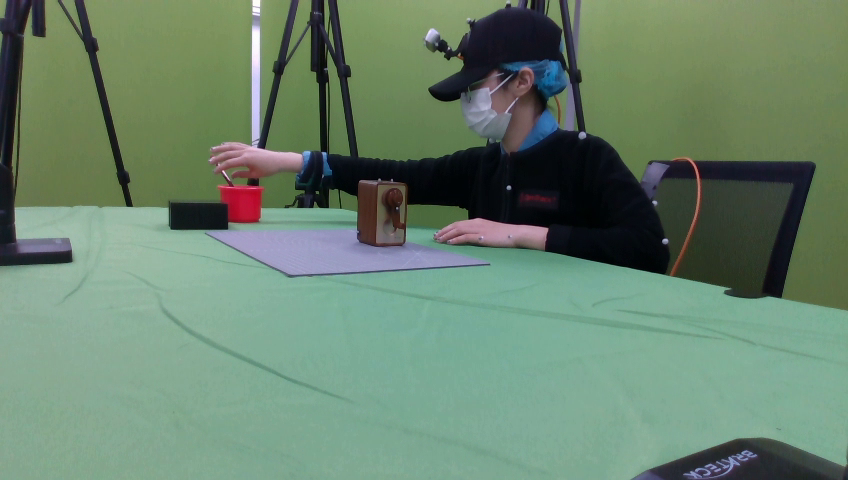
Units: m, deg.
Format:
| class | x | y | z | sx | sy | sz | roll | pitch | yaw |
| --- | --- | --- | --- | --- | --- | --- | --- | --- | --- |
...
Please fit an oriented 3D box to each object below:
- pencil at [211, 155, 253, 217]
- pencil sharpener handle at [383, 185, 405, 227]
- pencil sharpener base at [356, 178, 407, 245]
| class | x | y | z | sx | sy | sz | roll | pitch | yaw |
| --- | --- | --- | --- | --- | --- | --- | --- | --- | --- |
| pencil | -0.422 | -0.120 | 1.331 | 0.012 | 0.012 | 0.193 | -8 | 53 | -52 |
| pencil sharpener handle | -0.043 | -0.054 | 0.975 | 0.036 | 0.067 | 0.030 | -10 | 13 | -31 |
| pencil sharpener base | -0.071 | -0.049 | 1.018 | 0.062 | 0.107 | 0.076 | -2 | 9 | -32 |
